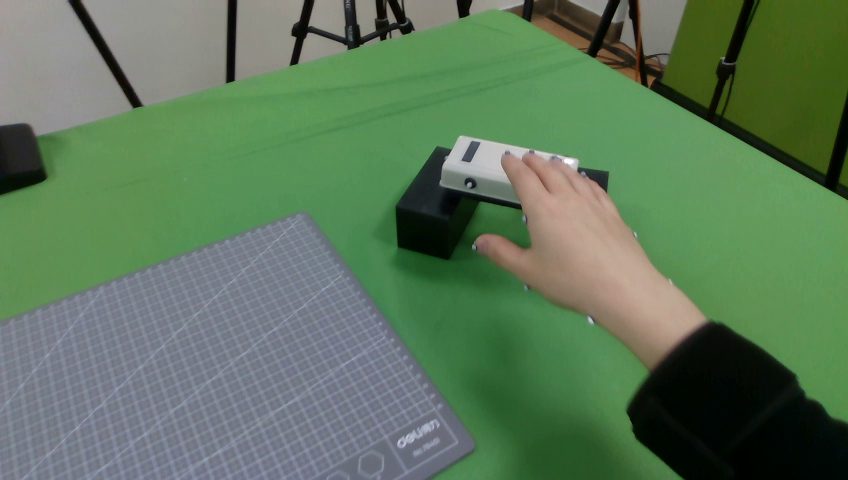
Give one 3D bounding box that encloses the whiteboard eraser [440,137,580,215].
[{"bbox_3d":[0.075,-0.054,0.525,0.112,0.042,0.055,13,44,14],"label":"whiteboard eraser"}]
